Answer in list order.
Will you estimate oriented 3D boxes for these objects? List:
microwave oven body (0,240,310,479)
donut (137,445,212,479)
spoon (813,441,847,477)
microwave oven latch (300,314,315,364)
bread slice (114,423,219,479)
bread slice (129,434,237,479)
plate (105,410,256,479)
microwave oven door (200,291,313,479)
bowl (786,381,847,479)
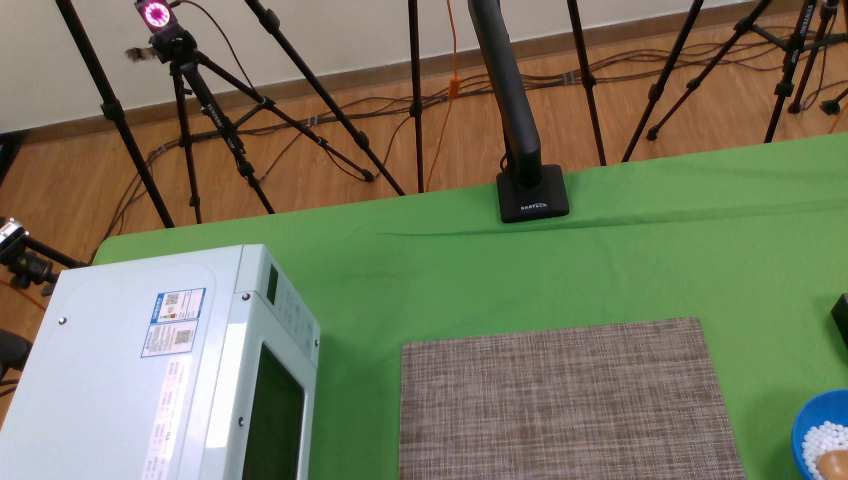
[{"bbox_3d":[-0.347,0.264,0.798,0.326,0.263,0.437,-8,54,7],"label":"microwave oven body"},{"bbox_3d":[-0.324,0.315,0.784,0.099,0.049,0.098,-3,52,4],"label":"donut"},{"bbox_3d":[0.552,0.234,0.690,0.193,0.022,0.041,-23,44,24],"label":"spoon"},{"bbox_3d":[-0.189,0.157,0.961,0.030,0.030,0.078,-8,54,7],"label":"microwave oven latch"},{"bbox_3d":[-0.335,0.298,0.765,0.105,0.019,0.130,-44,59,-15],"label":"bread slice"},{"bbox_3d":[-0.329,0.323,0.804,0.133,0.018,0.107,26,56,32],"label":"bread slice"},{"bbox_3d":[-0.322,0.332,0.806,0.207,0.039,0.205,-4,54,6],"label":"plate"},{"bbox_3d":[-0.203,0.273,0.752,0.039,0.246,0.352,-9,53,7],"label":"microwave oven door"},{"bbox_3d":[0.509,0.254,0.725,0.151,0.077,0.150,-6,53,9],"label":"bowl"}]
